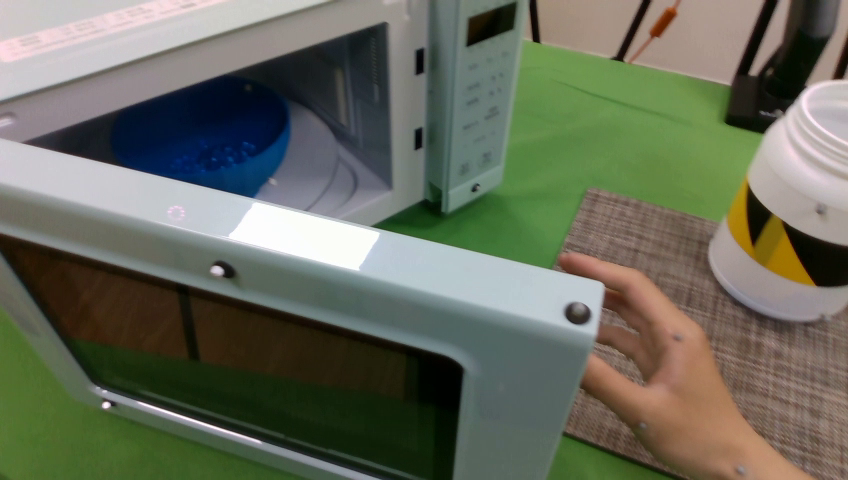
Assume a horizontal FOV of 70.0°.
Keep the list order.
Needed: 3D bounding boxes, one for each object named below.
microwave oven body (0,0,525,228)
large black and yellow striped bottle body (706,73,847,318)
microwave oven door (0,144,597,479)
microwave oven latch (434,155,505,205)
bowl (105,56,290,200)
[{"bbox_3d":[-0.182,-0.141,0.565,0.442,0.262,0.322,-30,54,-25],"label":"microwave oven body"},{"bbox_3d":[0.340,-0.035,0.525,0.131,0.185,0.129,1,46,0],"label":"large black and yellow striped bottle body"},{"bbox_3d":[-0.098,0.069,0.358,0.355,0.246,0.039,13,47,11],"label":"microwave oven door"},{"bbox_3d":[0.048,-0.068,0.634,0.079,0.030,0.030,-28,53,-24],"label":"microwave oven latch"},{"bbox_3d":[-0.191,-0.083,0.541,0.151,0.077,0.150,2,58,-3],"label":"bowl"}]
